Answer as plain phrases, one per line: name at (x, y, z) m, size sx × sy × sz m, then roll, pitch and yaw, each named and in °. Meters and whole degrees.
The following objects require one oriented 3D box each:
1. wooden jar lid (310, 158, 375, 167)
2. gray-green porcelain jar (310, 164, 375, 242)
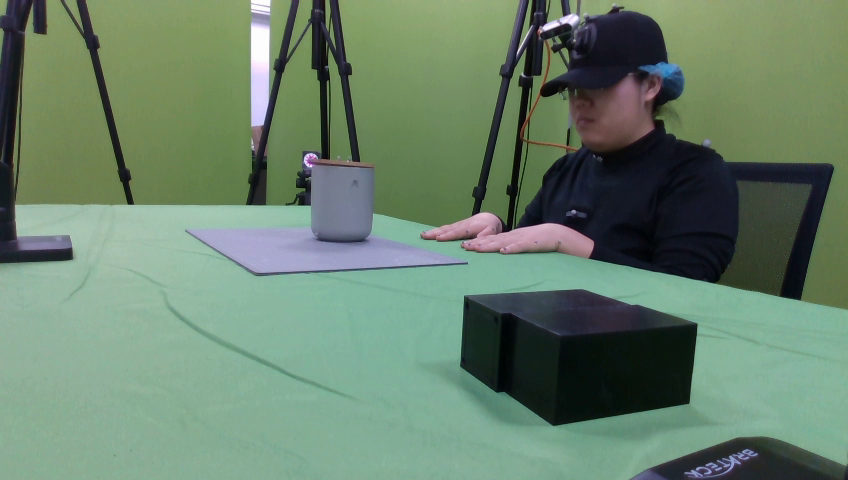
wooden jar lid at (-0.136, -0.124, 1.017) m, size 0.108 × 0.020 × 0.108 m, roll 4°, pitch 8°, yaw 0°
gray-green porcelain jar at (-0.139, -0.063, 1.025) m, size 0.106 × 0.126 × 0.106 m, roll 3°, pitch 8°, yaw 0°
